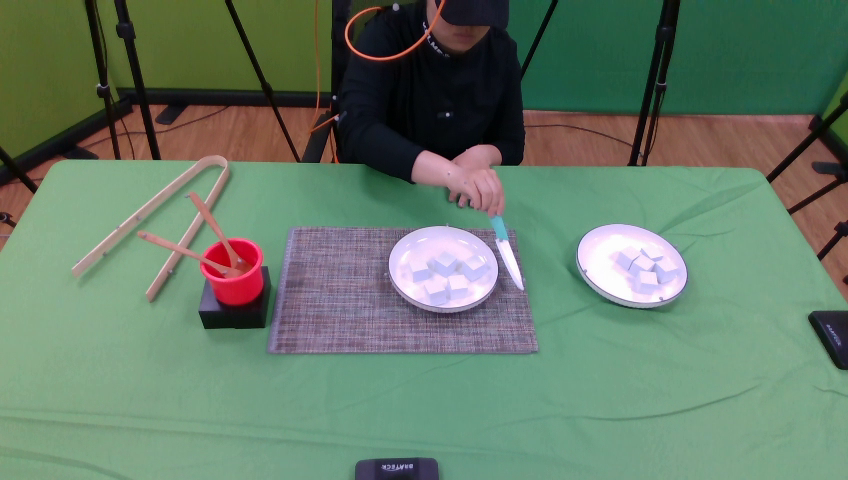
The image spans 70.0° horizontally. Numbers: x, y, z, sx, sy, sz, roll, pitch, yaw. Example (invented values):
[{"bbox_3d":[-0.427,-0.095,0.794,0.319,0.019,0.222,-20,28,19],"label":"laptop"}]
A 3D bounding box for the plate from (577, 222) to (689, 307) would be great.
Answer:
[{"bbox_3d":[0.396,0.050,1.165,0.209,0.038,0.208,2,47,-2],"label":"plate"}]

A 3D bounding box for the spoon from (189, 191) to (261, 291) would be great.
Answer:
[{"bbox_3d":[-0.333,0.001,1.012,0.041,0.194,0.021,-34,15,-25],"label":"spoon"}]

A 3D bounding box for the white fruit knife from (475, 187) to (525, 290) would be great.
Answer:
[{"bbox_3d":[0.144,-0.006,1.109,0.027,0.016,0.207,-21,85,2],"label":"white fruit knife"}]

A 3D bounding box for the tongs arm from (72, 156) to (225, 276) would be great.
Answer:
[{"bbox_3d":[-0.531,-0.057,1.205,0.050,0.026,0.383,19,47,12],"label":"tongs arm"}]

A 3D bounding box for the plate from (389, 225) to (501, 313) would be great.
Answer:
[{"bbox_3d":[0.038,0.057,1.129,0.208,0.039,0.206,2,46,-2],"label":"plate"}]

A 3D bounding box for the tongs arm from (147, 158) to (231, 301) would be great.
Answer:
[{"bbox_3d":[-0.454,-0.034,1.194,0.028,0.028,0.385,7,46,6],"label":"tongs arm"}]

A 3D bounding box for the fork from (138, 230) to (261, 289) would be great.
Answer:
[{"bbox_3d":[-0.359,0.032,0.981,0.208,0.018,0.028,31,60,-30],"label":"fork"}]
